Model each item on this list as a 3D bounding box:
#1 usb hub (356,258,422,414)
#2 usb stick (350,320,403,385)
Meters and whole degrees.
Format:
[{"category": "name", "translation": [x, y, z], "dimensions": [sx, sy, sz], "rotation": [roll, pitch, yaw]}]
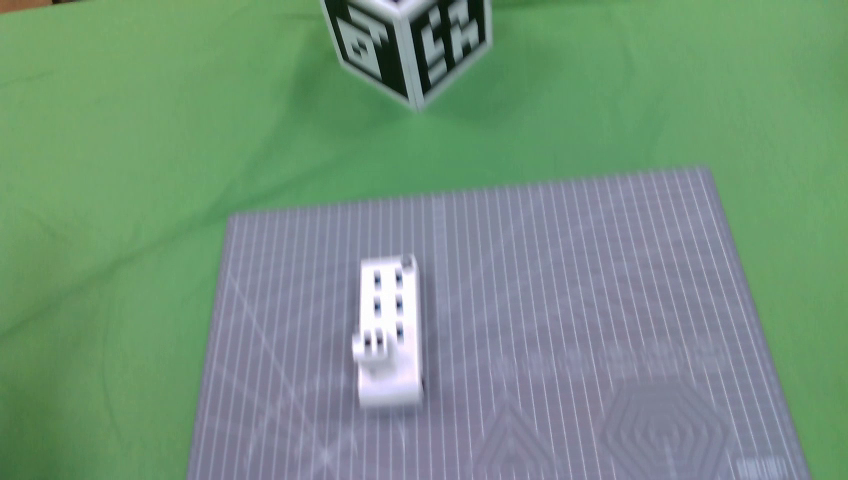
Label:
[{"category": "usb hub", "translation": [-0.028, 0.075, 0.491], "dimensions": [0.049, 0.025, 0.124], "rotation": [-5, 60, 4]}, {"category": "usb stick", "translation": [-0.036, 0.080, 0.440], "dimensions": [0.027, 0.060, 0.021], "rotation": [-29, 52, -12]}]
